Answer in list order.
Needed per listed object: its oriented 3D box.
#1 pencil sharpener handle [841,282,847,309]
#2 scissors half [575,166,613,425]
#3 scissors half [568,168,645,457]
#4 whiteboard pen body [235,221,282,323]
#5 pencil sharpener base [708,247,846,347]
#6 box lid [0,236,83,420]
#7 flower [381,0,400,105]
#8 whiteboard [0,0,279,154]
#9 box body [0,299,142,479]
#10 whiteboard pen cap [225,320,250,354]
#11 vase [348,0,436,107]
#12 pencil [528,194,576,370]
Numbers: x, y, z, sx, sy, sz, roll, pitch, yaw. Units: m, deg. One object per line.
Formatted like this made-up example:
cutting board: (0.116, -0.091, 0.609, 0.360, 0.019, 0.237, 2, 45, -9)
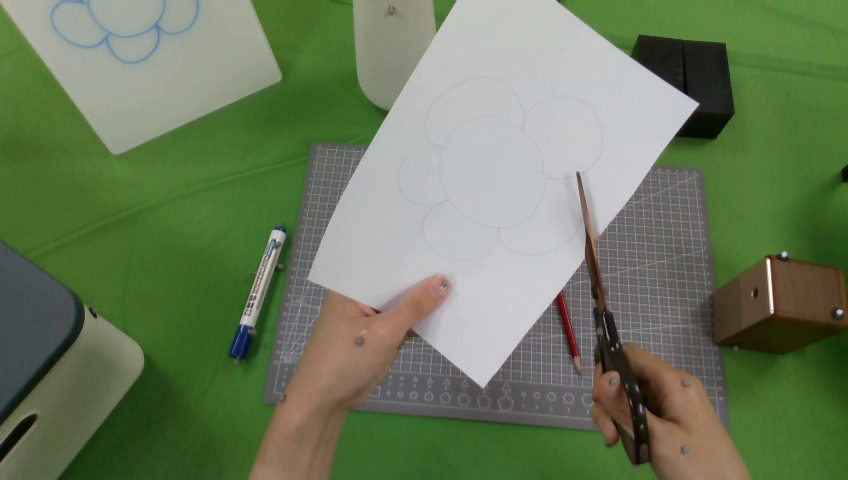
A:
pencil sharpener handle: (0.382, 0.062, 0.564, 0.030, 0.068, 0.035, 8, 61, 0)
scissors half: (0.109, 0.038, 0.384, 0.013, 0.040, 0.176, -11, 108, 6)
scissors half: (0.107, 0.040, 0.361, 0.013, 0.040, 0.174, -11, 79, 1)
whiteboard pen body: (-0.174, 0.043, 0.628, 0.017, 0.017, 0.140, 11, 65, 5)
pencil sharpener base: (0.331, 0.058, 0.576, 0.077, 0.107, 0.061, 8, 66, 0)
box lid: (-0.478, 0.060, 0.461, 0.370, 0.015, 0.262, 30, 70, 11)
flower: (-0.043, -0.280, 0.577, 0.044, 0.365, 0.038, -2, 49, 2)
whiteboard: (-0.327, -0.289, 0.646, 0.217, 0.308, 0.142, -28, 50, -11)
box body: (-0.476, 0.091, 0.529, 0.362, 0.161, 0.253, 30, 70, 11)
whiteboard pen cap: (-0.184, 0.095, 0.604, 0.018, 0.018, 0.033, 11, 62, 5)
vase: (-0.037, -0.234, 0.648, 0.098, 0.201, 0.097, 0, 66, 1)
pencil: (0.134, 0.040, 0.634, 0.012, 0.012, 0.192, -9, 69, -3)
